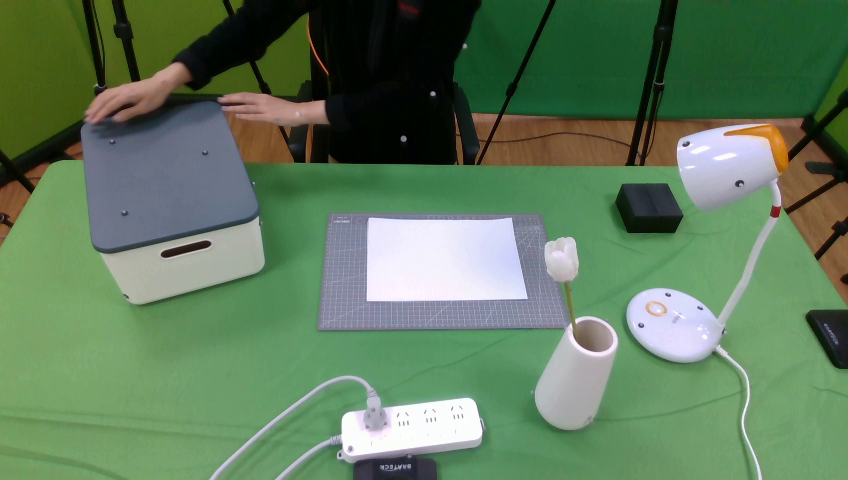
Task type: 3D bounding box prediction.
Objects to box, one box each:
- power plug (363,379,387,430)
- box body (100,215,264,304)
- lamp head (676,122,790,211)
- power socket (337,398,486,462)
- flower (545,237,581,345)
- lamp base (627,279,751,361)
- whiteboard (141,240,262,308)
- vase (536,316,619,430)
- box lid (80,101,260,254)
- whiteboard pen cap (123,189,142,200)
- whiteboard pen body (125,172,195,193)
[{"bbox_3d":[-0.071,0.252,0.911,0.035,0.053,0.072,3,40,0],"label":"power plug"},{"bbox_3d":[-0.465,-0.077,1.137,0.254,0.161,0.361,-16,50,-19],"label":"box body"},{"bbox_3d":[0.423,-0.104,0.819,0.122,0.113,0.112,-13,33,40],"label":"lamp head"},{"bbox_3d":[-0.018,0.285,0.914,0.227,0.033,0.071,-4,46,-8],"label":"power socket"},{"bbox_3d":[0.213,0.137,0.846,0.038,0.364,0.044,22,55,40],"label":"flower"},{"bbox_3d":[0.460,0.100,1.027,0.178,0.181,0.160,27,51,17],"label":"lamp base"},{"bbox_3d":[-0.464,-0.059,1.137,0.217,0.144,0.303,-19,51,-17],"label":"whiteboard"},{"bbox_3d":[0.229,0.200,0.901,0.098,0.201,0.097,3,46,-3],"label":"vase"},{"bbox_3d":[-0.461,-0.127,1.082,0.264,0.015,0.369,-15,49,-19],"label":"box lid"},{"bbox_3d":[-0.591,-0.092,1.231,0.033,0.018,0.018,-14,49,-17],"label":"whiteboard pen cap"},{"bbox_3d":[-0.553,-0.119,1.270,0.141,0.017,0.017,-18,50,-16],"label":"whiteboard pen body"}]
